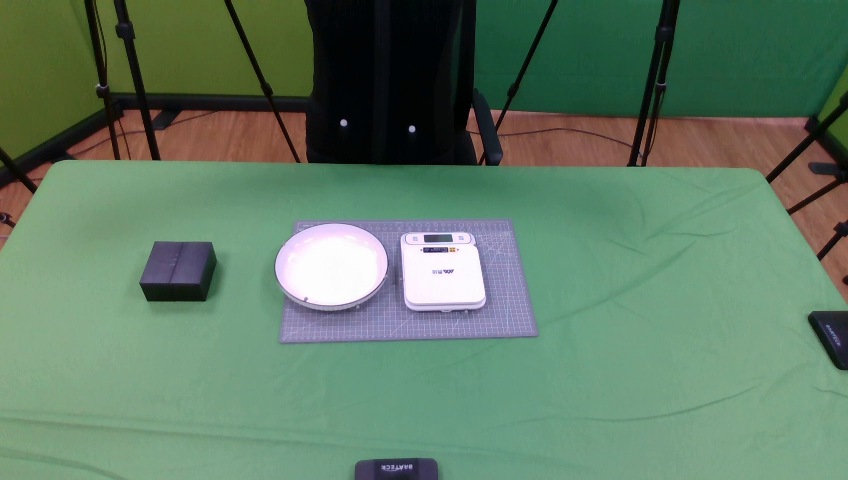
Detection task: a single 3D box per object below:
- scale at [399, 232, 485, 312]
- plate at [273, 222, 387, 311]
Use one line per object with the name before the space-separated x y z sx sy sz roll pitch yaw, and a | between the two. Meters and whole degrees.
scale | 0.031 0.050 1.141 0.149 0.032 0.199 -1 46 -5
plate | -0.172 0.051 1.120 0.209 0.038 0.208 2 46 -2
